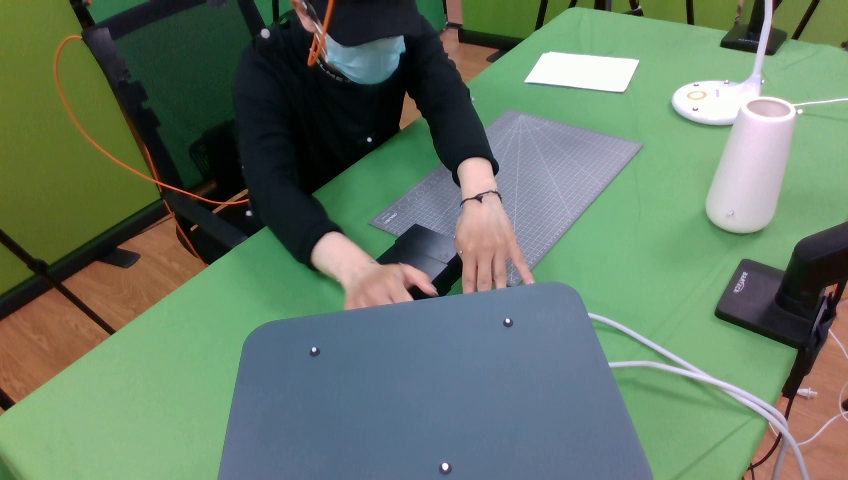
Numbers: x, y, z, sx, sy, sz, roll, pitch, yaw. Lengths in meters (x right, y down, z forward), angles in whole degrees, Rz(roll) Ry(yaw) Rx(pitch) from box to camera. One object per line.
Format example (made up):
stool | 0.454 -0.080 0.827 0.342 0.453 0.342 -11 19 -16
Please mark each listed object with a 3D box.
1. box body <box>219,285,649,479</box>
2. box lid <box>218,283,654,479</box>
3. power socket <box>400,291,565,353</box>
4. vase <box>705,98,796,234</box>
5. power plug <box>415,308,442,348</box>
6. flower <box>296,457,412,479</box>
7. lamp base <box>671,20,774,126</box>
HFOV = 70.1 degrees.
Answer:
box body | 0.005 0.210 0.618 0.364 0.161 0.252 -8 40 -1
box lid | -0.004 0.154 0.571 0.372 0.015 0.261 -8 40 -1
power socket | 0.079 0.111 0.823 0.227 0.033 0.072 -5 41 1
vase | 0.480 -0.103 0.889 0.098 0.201 0.097 -4 42 4
power plug | 0.004 0.121 0.787 0.035 0.053 0.072 4 46 8
flower | 0.017 0.270 0.655 0.360 0.038 0.044 3 18 21
lamp base | 0.581 -0.332 1.154 0.179 0.181 0.160 2 41 7
